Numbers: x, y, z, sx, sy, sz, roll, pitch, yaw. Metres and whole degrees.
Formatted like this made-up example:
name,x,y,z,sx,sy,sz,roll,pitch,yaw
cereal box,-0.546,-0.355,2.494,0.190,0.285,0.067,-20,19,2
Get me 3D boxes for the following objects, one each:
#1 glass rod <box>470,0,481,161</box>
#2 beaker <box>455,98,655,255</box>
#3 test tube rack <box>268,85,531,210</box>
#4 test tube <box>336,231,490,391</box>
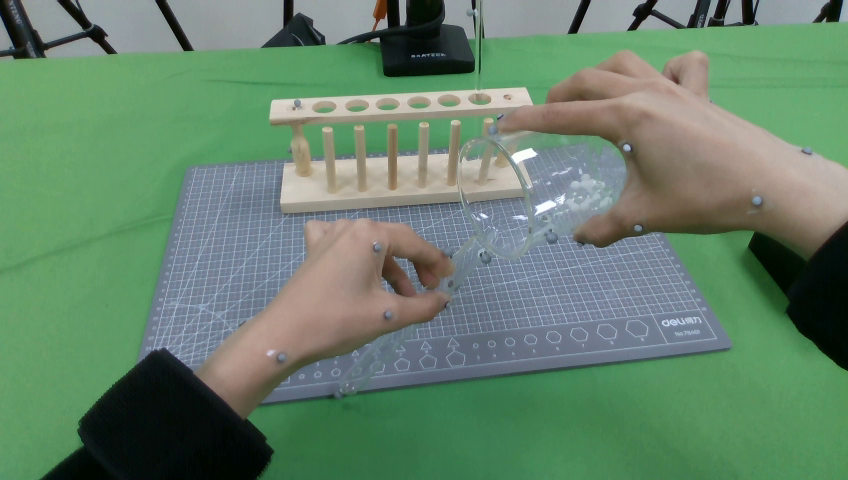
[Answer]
name,x,y,z,sx,sy,sz,roll,pitch,yaw
glass rod,0.048,-0.163,0.564,0.008,0.201,0.008,-1,37,1
beaker,0.079,-0.040,0.366,0.100,0.084,0.073,-20,60,-22
test tube rack,-0.020,-0.089,0.582,0.243,0.086,0.066,-4,44,-5
test tube,-0.011,0.051,0.403,0.017,0.150,0.017,37,20,-15
